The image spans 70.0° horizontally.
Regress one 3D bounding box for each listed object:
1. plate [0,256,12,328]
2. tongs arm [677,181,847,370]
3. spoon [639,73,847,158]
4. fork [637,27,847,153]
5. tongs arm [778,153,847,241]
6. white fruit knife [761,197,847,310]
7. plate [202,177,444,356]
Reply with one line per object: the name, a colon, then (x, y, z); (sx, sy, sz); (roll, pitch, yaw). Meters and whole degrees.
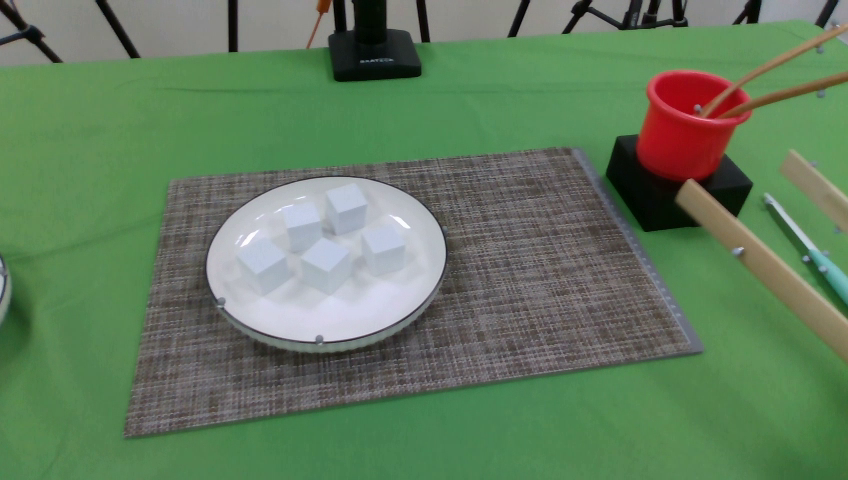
plate: (-0.437, 0.072, 0.474); (0.209, 0.038, 0.207); (2, 43, -1)
tongs arm: (0.307, 0.090, 0.392); (0.028, 0.028, 0.383); (-17, 53, -27)
spoon: (0.283, -0.110, 0.549); (0.041, 0.193, 0.022); (-35, 97, -39)
fork: (0.302, -0.142, 0.584); (0.207, 0.019, 0.028); (-35, 19, 19)
tongs arm: (0.365, 0.075, 0.413); (0.051, 0.027, 0.380); (-13, 52, -19)
white fruit knife: (0.386, 0.022, 0.591); (0.027, 0.016, 0.205); (18, 36, -26)
plate: (-0.087, 0.022, 0.542); (0.208, 0.039, 0.205); (2, 44, -1)
